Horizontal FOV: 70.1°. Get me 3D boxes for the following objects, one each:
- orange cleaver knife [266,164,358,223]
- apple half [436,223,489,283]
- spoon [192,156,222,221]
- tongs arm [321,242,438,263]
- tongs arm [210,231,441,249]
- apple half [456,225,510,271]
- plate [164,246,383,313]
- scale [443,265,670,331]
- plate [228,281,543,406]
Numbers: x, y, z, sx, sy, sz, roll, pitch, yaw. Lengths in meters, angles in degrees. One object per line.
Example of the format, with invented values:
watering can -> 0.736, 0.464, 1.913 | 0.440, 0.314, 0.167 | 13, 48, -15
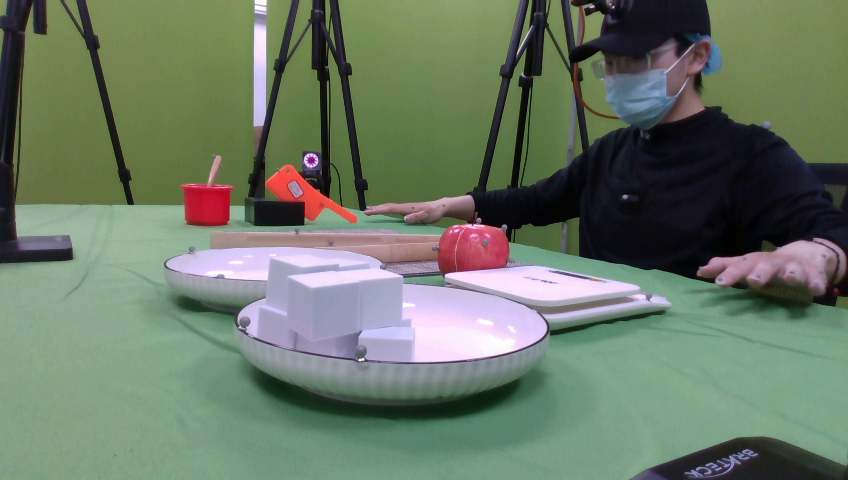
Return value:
orange cleaver knife -> -0.237, -0.082, 1.295 | 0.212, 0.077, 0.012 | 35, -9, -26
apple half -> 0.045, 0.017, 0.691 | 0.081, 0.074, 0.053 | -9, 10, -41
spoon -> -0.430, -0.108, 1.222 | 0.041, 0.021, 0.193 | -1, 52, 0
tongs arm -> -0.070, 0.017, 0.800 | 0.390, 0.028, 0.028 | -2, 5, -34
tongs arm -> -0.106, 0.004, 0.876 | 0.386, 0.026, 0.050 | 0, 7, -20
apple half -> 0.071, 0.021, 0.662 | 0.082, 0.081, 0.032 | -4, 7, -42
plate -> -0.145, 0.038, 0.600 | 0.209, 0.038, 0.209 | 2, 7, 0
scale -> 0.131, 0.052, 0.603 | 0.202, 0.031, 0.148 | -2, 9, -37
plate -> -0.025, 0.067, 0.413 | 0.208, 0.039, 0.207 | 3, 7, 0
